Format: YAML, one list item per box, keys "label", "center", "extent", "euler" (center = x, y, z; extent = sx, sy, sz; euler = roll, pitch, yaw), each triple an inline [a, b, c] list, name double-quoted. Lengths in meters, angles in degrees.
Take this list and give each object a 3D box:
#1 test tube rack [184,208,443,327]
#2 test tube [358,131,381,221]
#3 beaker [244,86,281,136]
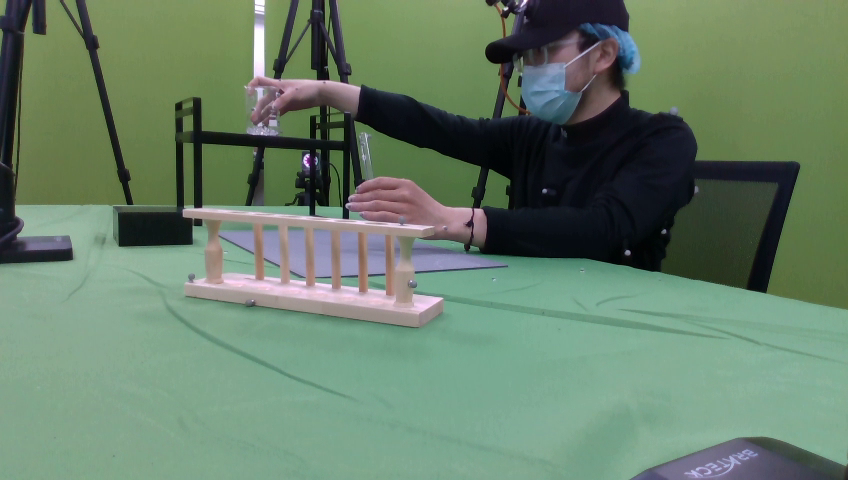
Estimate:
- label: "test tube rack"
  center: [-0.106, 0.019, 0.570]
  extent: [0.241, 0.085, 0.067]
  euler: [5, 8, 20]
- label: "test tube"
  center: [-0.089, -0.103, 0.977]
  extent: [0.017, 0.150, 0.017]
  euler: [-10, -8, -1]
- label: "beaker"
  center: [-0.337, -0.267, 1.258]
  extent: [0.074, 0.100, 0.084]
  euler: [7, 12, 23]
